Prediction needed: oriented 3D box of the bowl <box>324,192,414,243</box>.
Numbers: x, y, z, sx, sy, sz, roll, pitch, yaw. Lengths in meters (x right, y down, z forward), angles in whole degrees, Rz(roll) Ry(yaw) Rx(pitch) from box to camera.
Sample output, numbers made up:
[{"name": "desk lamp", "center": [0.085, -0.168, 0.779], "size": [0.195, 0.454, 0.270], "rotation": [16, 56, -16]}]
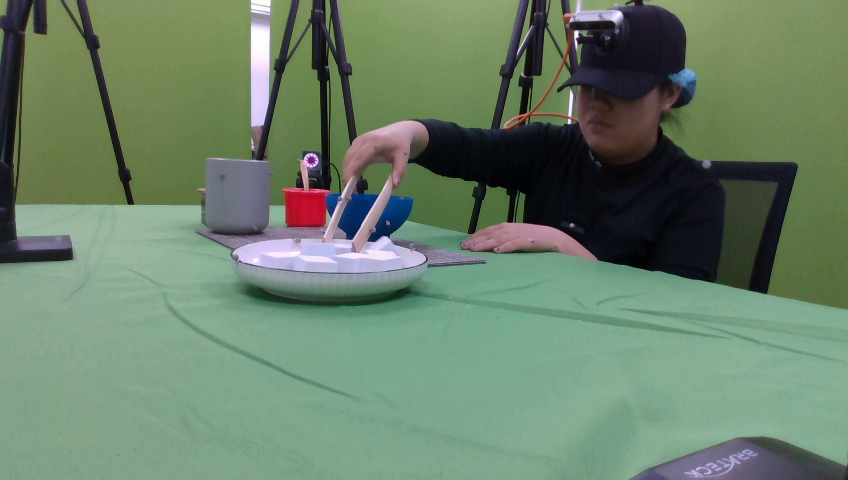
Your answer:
[{"name": "bowl", "center": [-0.094, -0.037, 1.015], "size": [0.151, 0.077, 0.151], "rotation": [3, 7, 0]}]

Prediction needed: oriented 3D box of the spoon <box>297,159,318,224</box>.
[{"name": "spoon", "center": [-0.244, -0.103, 1.251], "size": [0.042, 0.021, 0.193], "rotation": [1, 51, -17]}]

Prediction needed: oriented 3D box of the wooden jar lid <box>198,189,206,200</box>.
[{"name": "wooden jar lid", "center": [-0.382, -0.088, 1.175], "size": [0.108, 0.020, 0.108], "rotation": [3, 8, 0]}]

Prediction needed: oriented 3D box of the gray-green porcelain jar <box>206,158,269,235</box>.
[{"name": "gray-green porcelain jar", "center": [-0.323, -0.076, 1.048], "size": [0.106, 0.126, 0.106], "rotation": [3, 7, 0]}]

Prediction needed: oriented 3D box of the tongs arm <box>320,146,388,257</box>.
[{"name": "tongs arm", "center": [-0.089, -0.069, 0.851], "size": [0.051, 0.026, 0.384], "rotation": [0, 24, 1]}]

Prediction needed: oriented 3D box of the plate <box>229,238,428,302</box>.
[{"name": "plate", "center": [-0.099, 0.032, 0.651], "size": [0.209, 0.038, 0.209], "rotation": [3, 8, 0]}]

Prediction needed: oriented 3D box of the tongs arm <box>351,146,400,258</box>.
[{"name": "tongs arm", "center": [-0.065, -0.068, 0.849], "size": [0.028, 0.028, 0.387], "rotation": [-1, 24, 6]}]
